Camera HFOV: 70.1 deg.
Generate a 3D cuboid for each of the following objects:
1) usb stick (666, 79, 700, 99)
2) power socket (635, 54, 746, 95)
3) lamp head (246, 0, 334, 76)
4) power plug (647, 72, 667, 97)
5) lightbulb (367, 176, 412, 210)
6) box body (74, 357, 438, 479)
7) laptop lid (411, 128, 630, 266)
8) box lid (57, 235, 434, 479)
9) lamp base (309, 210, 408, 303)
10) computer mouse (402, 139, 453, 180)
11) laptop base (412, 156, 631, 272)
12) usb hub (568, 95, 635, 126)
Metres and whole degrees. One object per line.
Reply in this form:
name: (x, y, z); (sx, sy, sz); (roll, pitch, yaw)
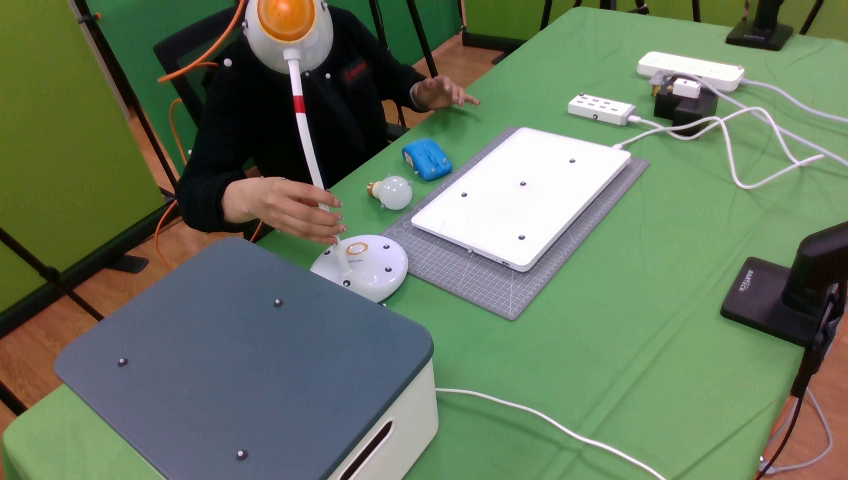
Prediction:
usb stick: (0.492, -0.288, 1.152); (0.058, 0.027, 0.021); (20, 50, 34)
power socket: (0.564, -0.357, 1.293); (0.225, 0.033, 0.072); (24, 51, 33)
lamp head: (-0.165, -0.260, 0.740); (0.113, 0.112, 0.122); (-15, 15, -7)
power plug: (0.494, -0.320, 1.260); (0.073, 0.052, 0.035); (1, 19, -41)
lightbulb: (-0.066, -0.086, 1.084); (0.060, 0.060, 0.107); (-38, 32, -30)
box body: (-0.189, 0.179, 0.702); (0.361, 0.161, 0.255); (22, 49, 32)
laptop lid: (0.172, -0.093, 1.049); (0.239, 0.013, 0.358); (24, 50, 36)
box lid: (-0.198, 0.123, 0.653); (0.368, 0.015, 0.264); (22, 49, 32)
lamp base: (-0.114, -0.003, 0.886); (0.161, 0.181, 0.178); (-13, 42, -1)
computer mouse: (0.005, -0.159, 1.165); (0.063, 0.041, 0.116); (-21, 45, -17)
laptop base: (0.176, -0.083, 1.055); (0.233, 0.023, 0.355); (21, 48, 36)
usb hub: (0.360, -0.263, 1.228); (0.124, 0.025, 0.049); (24, 49, 34)
